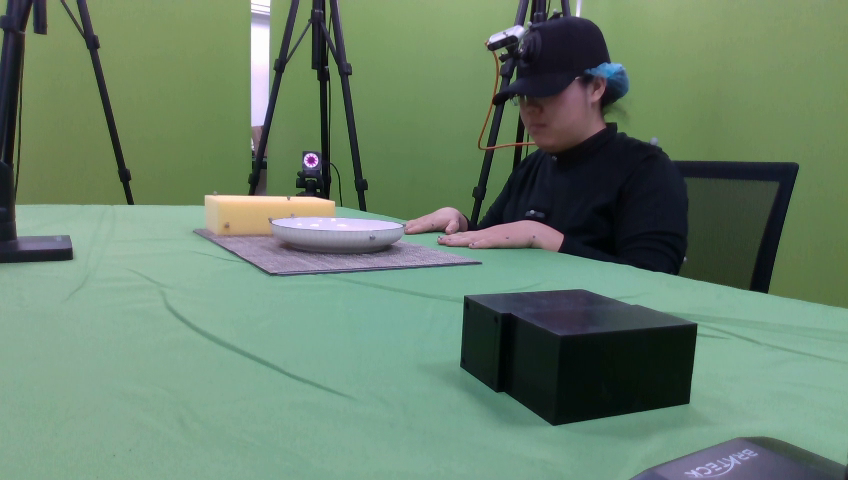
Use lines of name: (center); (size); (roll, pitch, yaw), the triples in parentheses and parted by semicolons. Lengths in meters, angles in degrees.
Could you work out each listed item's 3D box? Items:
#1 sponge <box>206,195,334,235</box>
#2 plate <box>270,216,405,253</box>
sponge: (-0.280, -0.047, 1.097); (0.208, 0.061, 0.117); (-2, 9, -30)
plate: (-0.134, -0.009, 0.946); (0.208, 0.039, 0.207); (3, 7, 0)
